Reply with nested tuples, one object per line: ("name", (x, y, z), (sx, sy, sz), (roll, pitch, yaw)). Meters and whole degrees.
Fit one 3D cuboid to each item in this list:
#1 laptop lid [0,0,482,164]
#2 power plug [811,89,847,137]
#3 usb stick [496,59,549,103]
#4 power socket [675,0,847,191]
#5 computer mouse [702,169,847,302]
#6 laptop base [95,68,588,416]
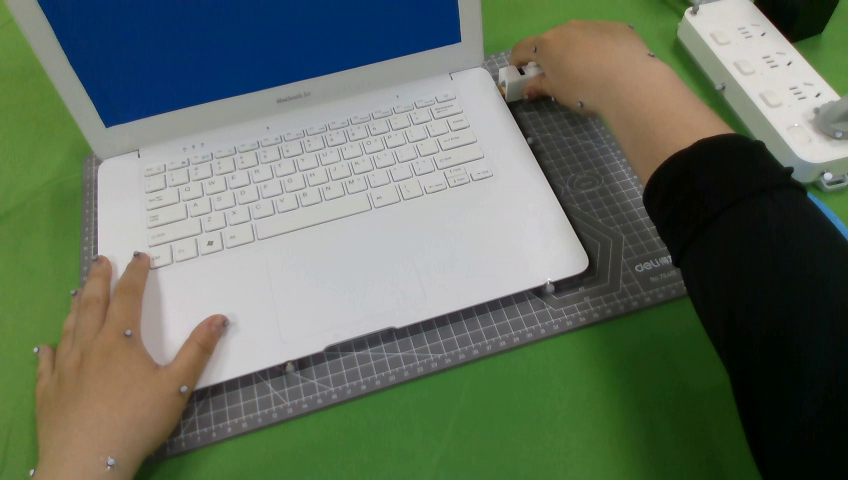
("laptop lid", (-0.129, -0.196, 0.468), (0.357, 0.244, 0.013), (-17, 43, -6))
("power plug", (0.344, -0.098, 0.475), (0.072, 0.053, 0.035), (-4, 57, 1))
("usb stick", (0.081, -0.141, 0.542), (0.059, 0.027, 0.021), (-17, 50, -5))
("power socket", (0.298, -0.138, 0.531), (0.072, 0.033, 0.224), (-13, 56, -4))
("computer mouse", (0.260, -0.010, 0.443), (0.063, 0.041, 0.116), (-16, 51, -5))
("laptop base", (-0.079, -0.018, 0.485), (0.355, 0.023, 0.233), (-16, 59, -7))
